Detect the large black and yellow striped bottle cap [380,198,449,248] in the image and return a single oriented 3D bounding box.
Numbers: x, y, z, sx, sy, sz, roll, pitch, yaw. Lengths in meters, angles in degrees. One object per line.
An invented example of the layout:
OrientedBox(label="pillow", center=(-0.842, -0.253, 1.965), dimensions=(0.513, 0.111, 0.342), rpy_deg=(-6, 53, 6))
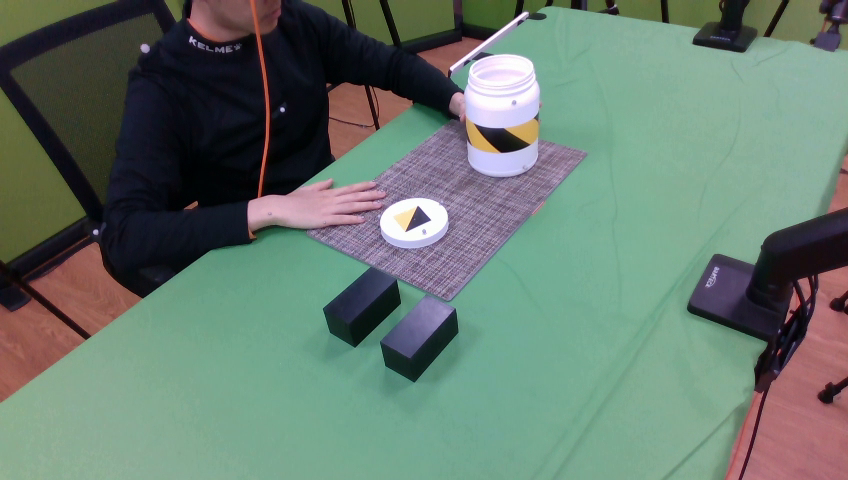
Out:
OrientedBox(label="large black and yellow striped bottle cap", center=(-0.016, -0.030, 1.004), dimensions=(0.115, 0.019, 0.114), rpy_deg=(-5, 40, 4))

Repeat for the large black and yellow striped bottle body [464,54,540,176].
OrientedBox(label="large black and yellow striped bottle body", center=(0.139, -0.222, 1.075), dimensions=(0.131, 0.185, 0.130), rpy_deg=(-4, 41, 4))
